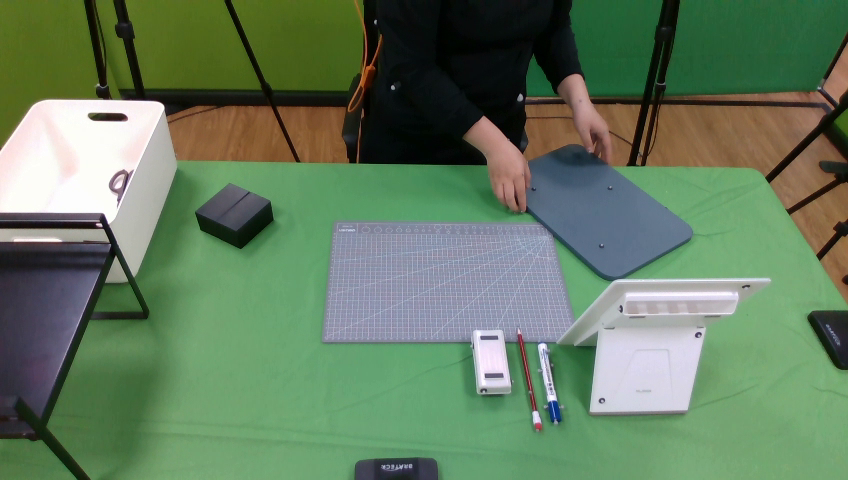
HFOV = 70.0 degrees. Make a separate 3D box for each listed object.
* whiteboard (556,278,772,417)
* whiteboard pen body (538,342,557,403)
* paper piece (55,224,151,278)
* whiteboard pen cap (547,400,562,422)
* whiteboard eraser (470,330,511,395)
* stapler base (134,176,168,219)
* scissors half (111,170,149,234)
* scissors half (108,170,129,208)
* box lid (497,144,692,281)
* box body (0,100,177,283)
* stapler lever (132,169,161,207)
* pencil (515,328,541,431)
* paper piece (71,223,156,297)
[{"bbox_3d":[0.347,0.174,0.903,0.217,0.306,0.143,1,65,-4],"label":"whiteboard"},{"bbox_3d":[0.205,0.228,0.997,0.017,0.017,0.140,1,46,-3],"label":"whiteboard pen body"},{"bbox_3d":[-0.595,0.018,1.129,0.135,0.004,0.135,1,46,-2],"label":"paper piece"},{"bbox_3d":[0.205,0.269,0.956,0.018,0.018,0.033,0,47,-5],"label":"whiteboard pen cap"},{"bbox_3d":[0.110,0.202,0.998,0.055,0.042,0.112,1,46,-5],"label":"whiteboard eraser"},{"bbox_3d":[-0.558,-0.093,1.234,0.041,0.024,0.129,1,42,-8],"label":"stapler base"},{"bbox_3d":[-0.596,-0.078,1.223,0.040,0.013,0.174,6,51,2],"label":"scissors half"},{"bbox_3d":[-0.618,-0.077,1.222,0.040,0.013,0.174,-14,52,-8],"label":"scissors half"},{"bbox_3d":[0.360,-0.074,1.304,0.263,0.015,0.369,-24,52,-25],"label":"box lid"},{"bbox_3d":[-0.639,-0.095,1.140,0.254,0.161,0.361,1,46,-4],"label":"box body"},{"bbox_3d":[-0.557,-0.113,1.218,0.027,0.040,0.117,1,42,-8],"label":"stapler lever"},{"bbox_3d":[0.169,0.224,1.002,0.012,0.012,0.192,-2,46,-6],"label":"pencil"},{"bbox_3d":[-0.598,0.034,1.141,0.136,0.009,0.137,14,51,-14],"label":"paper piece"}]
